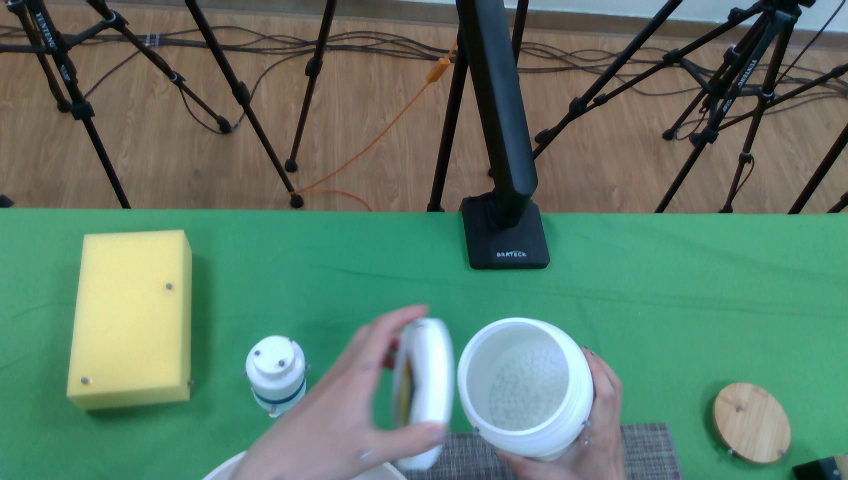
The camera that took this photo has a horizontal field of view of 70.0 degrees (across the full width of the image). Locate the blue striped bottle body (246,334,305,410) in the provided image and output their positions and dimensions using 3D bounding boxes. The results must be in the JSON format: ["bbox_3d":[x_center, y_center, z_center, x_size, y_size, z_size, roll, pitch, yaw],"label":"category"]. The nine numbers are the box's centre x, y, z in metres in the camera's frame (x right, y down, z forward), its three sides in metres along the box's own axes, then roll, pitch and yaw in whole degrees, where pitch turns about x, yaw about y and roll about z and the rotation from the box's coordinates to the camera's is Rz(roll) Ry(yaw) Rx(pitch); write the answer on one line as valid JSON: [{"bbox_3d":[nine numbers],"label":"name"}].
[{"bbox_3d":[-0.170,0.150,0.698,0.063,0.121,0.062,4,59,-7],"label":"blue striped bottle body"}]

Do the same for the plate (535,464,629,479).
[{"bbox_3d":[0.186,0.364,0.685,0.209,0.038,0.207,4,60,-7],"label":"plate"}]

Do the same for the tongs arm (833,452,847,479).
[{"bbox_3d":[0.556,0.436,0.684,0.051,0.026,0.382,-4,71,-14],"label":"tongs arm"}]

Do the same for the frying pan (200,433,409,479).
[{"bbox_3d":[-0.114,0.431,0.552,0.307,0.103,0.482,-1,52,-9],"label":"frying pan"}]

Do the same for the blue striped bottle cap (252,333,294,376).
[{"bbox_3d":[-0.163,0.123,0.655,0.045,0.021,0.044,5,61,-8],"label":"blue striped bottle cap"}]

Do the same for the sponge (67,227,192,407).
[{"bbox_3d":[-0.349,0.089,0.735,0.118,0.061,0.205,-5,61,-13],"label":"sponge"}]

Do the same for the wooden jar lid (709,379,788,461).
[{"bbox_3d":[0.434,0.242,0.817,0.108,0.021,0.107,4,61,-7],"label":"wooden jar lid"}]

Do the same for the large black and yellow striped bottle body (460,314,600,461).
[{"bbox_3d":[0.111,0.155,0.632,0.130,0.186,0.129,-8,64,17],"label":"large black and yellow striped bottle body"}]

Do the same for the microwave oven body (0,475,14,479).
[{"bbox_3d":[-0.528,0.388,0.407,0.327,0.262,0.437,1,61,-10],"label":"microwave oven body"}]

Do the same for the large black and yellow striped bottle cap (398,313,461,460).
[{"bbox_3d":[0.002,0.116,0.486,0.019,0.115,0.114,7,58,-17],"label":"large black and yellow striped bottle cap"}]
